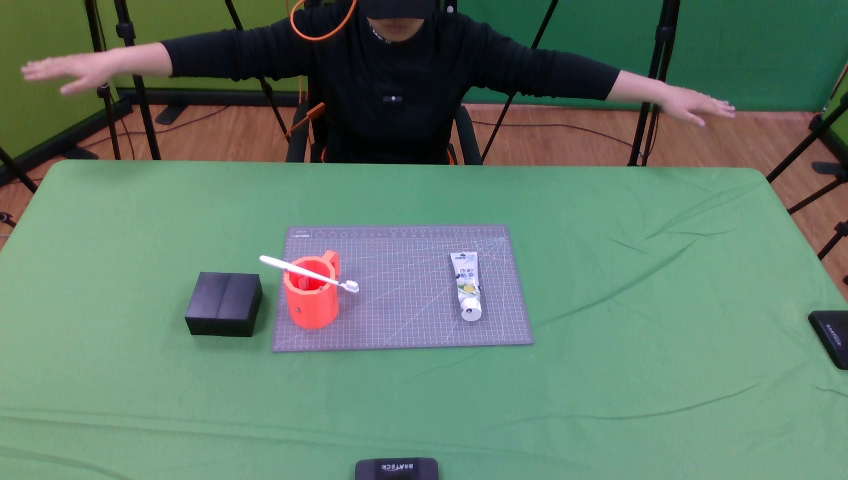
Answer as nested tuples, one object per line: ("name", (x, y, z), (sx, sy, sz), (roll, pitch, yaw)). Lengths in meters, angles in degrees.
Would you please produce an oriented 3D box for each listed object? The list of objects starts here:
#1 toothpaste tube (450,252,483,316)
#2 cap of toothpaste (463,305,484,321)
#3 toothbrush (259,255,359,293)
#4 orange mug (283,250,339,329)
("toothpaste tube", (0.084, 0.077, 1.122), (0.055, 0.035, 0.164), (3, 41, -8))
("cap of toothpaste", (0.087, 0.127, 1.063), (0.037, 0.037, 0.011), (2, 39, -2))
("toothbrush", (-0.192, 0.054, 1.002), (0.181, 0.017, 0.014), (17, 53, 12))
("orange mug", (-0.186, 0.078, 1.052), (0.083, 0.101, 0.126), (20, 52, 15))
